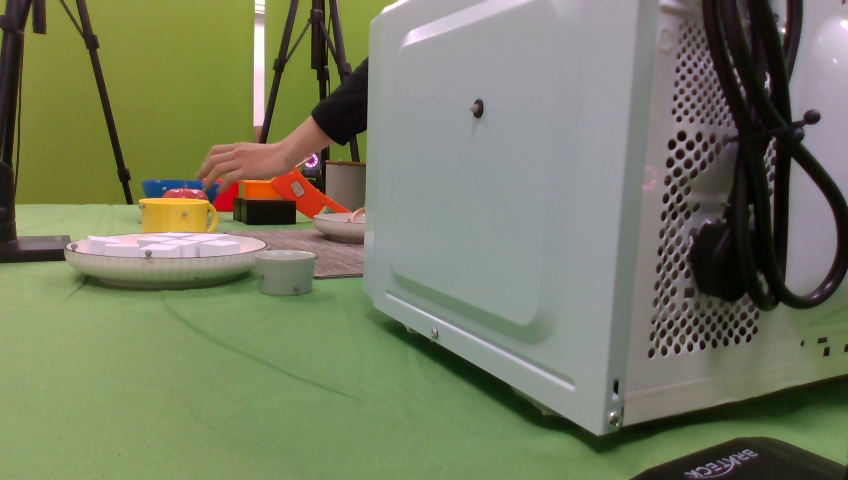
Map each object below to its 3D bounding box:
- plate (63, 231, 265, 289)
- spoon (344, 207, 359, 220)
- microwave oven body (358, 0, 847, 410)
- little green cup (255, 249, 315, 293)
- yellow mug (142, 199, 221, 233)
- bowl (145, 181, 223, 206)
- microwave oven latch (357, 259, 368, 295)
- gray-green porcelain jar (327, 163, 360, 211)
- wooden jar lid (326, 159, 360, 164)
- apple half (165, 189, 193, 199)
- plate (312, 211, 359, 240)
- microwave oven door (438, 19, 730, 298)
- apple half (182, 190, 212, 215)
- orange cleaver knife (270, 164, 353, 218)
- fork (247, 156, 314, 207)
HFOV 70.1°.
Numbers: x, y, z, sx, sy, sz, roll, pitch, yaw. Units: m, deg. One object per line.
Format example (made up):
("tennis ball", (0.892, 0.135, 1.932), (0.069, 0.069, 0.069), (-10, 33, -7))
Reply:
("plate", (-0.288, 0.021, 0.687), (0.208, 0.039, 0.207), (2, 8, 0))
("spoon", (-0.126, -0.047, 1.117), (0.041, 0.021, 0.194), (-2, 18, 14))
("microwave oven body", (0.210, -0.051, 0.471), (0.444, 0.260, 0.324), (-1, 7, -28))
("little green cup", (-0.144, 0.032, 0.627), (0.061, 0.038, 0.061), (2, 5, 0))
("yellow mug", (-0.372, -0.030, 0.947), (0.099, 0.064, 0.131), (5, 7, 30))
("bowl", (-0.499, -0.081, 1.261), (0.151, 0.077, 0.151), (2, 8, 0))
("microwave oven latch", (-0.019, 0.031, 0.529), (0.079, 0.029, 0.030), (-1, 7, -26))
("gray-green porcelain jar", (-0.187, -0.125, 1.490), (0.106, 0.126, 0.106), (2, 7, 0))
("wooden jar lid", (-0.185, -0.187, 1.481), (0.108, 0.020, 0.108), (4, 6, 0))
("apple half", (-0.441, -0.055, 1.097), (0.053, 0.074, 0.081), (0, 11, 11))
("plate", (-0.091, -0.026, 1.063), (0.209, 0.038, 0.209), (2, 7, 0))
("microwave oven door", (0.181, -0.076, 0.618), (0.358, 0.243, 0.039), (-2, 8, -28))
("apple half", (-0.402, -0.054, 1.090), (0.033, 0.081, 0.081), (0, 7, 12))
("orange cleaver knife", (-0.240, -0.088, 1.329), (0.212, 0.077, 0.012), (36, -9, -33))
("fork", (-0.360, -0.147, 1.522), (0.207, 0.018, 0.028), (-43, 7, -7))
